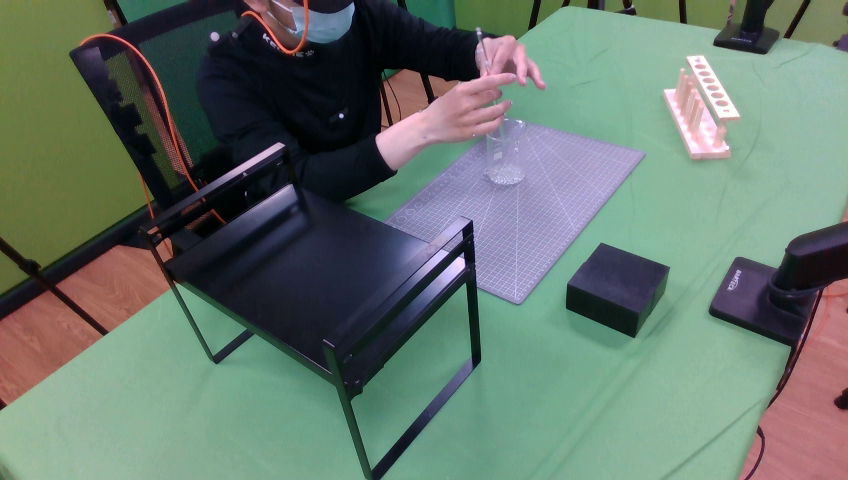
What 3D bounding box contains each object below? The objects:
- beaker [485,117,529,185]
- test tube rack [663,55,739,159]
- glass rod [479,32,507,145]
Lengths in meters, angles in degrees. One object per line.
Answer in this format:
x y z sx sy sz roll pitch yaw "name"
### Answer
0.149 -0.155 1.066 0.084 0.101 0.073 -30 46 -25 "beaker"
0.517 -0.256 1.144 0.066 0.085 0.241 -1 41 8 "test tube rack"
0.113 -0.241 0.983 0.008 0.201 0.008 -12 35 9 "glass rod"
